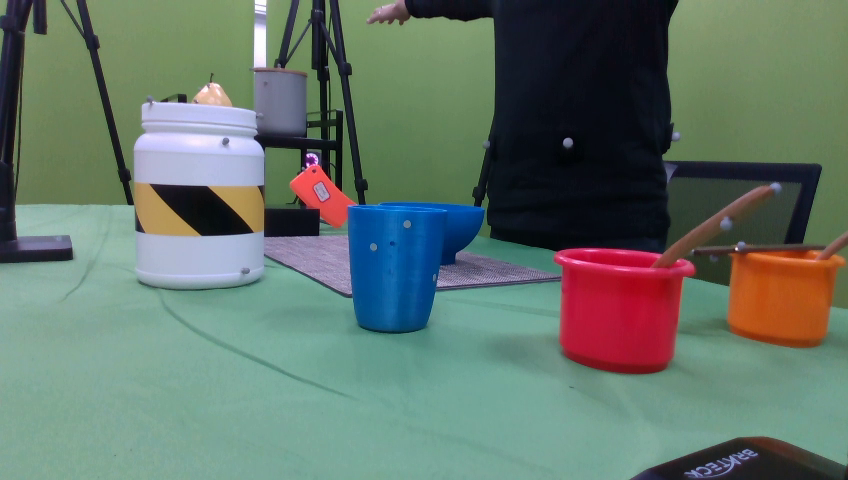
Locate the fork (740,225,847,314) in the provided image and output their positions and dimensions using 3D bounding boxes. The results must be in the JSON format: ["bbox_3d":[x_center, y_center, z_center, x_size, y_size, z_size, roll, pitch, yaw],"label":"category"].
[{"bbox_3d":[0.323,0.013,0.485,0.028,0.018,0.207,9,-38,-5],"label":"fork"}]

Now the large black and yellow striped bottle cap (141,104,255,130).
[{"bbox_3d":[-0.241,-0.131,0.650,0.115,0.019,0.115,3,8,0],"label":"large black and yellow striped bottle cap"}]

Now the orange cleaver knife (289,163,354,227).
[{"bbox_3d":[-0.164,-0.066,1.159,0.212,0.077,0.012,39,-15,-31],"label":"orange cleaver knife"}]

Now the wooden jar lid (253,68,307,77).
[{"bbox_3d":[-0.296,-0.339,1.250,0.108,0.020,0.108,3,10,0],"label":"wooden jar lid"}]

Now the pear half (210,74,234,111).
[{"bbox_3d":[-0.401,-0.262,1.162,0.076,0.109,0.056,7,7,2],"label":"pear half"}]

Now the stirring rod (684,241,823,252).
[{"bbox_3d":[0.289,0.005,0.525,0.177,0.006,0.014,-1,5,-26],"label":"stirring rod"}]

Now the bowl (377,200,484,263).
[{"bbox_3d":[0.008,-0.012,0.842,0.151,0.077,0.151,2,7,0],"label":"bowl"}]

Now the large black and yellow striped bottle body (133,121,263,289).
[{"bbox_3d":[-0.243,-0.048,0.659,0.131,0.184,0.130,2,7,0],"label":"large black and yellow striped bottle body"}]

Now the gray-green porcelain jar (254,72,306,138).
[{"bbox_3d":[-0.299,-0.277,1.257,0.106,0.126,0.106,2,8,0],"label":"gray-green porcelain jar"}]

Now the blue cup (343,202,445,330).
[{"bbox_3d":[-0.027,0.020,0.510,0.093,0.100,0.092,3,5,0],"label":"blue cup"}]

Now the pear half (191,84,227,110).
[{"bbox_3d":[-0.405,-0.248,1.128,0.070,0.088,0.031,6,6,2],"label":"pear half"}]

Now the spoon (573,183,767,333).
[{"bbox_3d":[0.158,0.020,0.412,0.042,0.021,0.193,-2,-35,-21],"label":"spoon"}]
